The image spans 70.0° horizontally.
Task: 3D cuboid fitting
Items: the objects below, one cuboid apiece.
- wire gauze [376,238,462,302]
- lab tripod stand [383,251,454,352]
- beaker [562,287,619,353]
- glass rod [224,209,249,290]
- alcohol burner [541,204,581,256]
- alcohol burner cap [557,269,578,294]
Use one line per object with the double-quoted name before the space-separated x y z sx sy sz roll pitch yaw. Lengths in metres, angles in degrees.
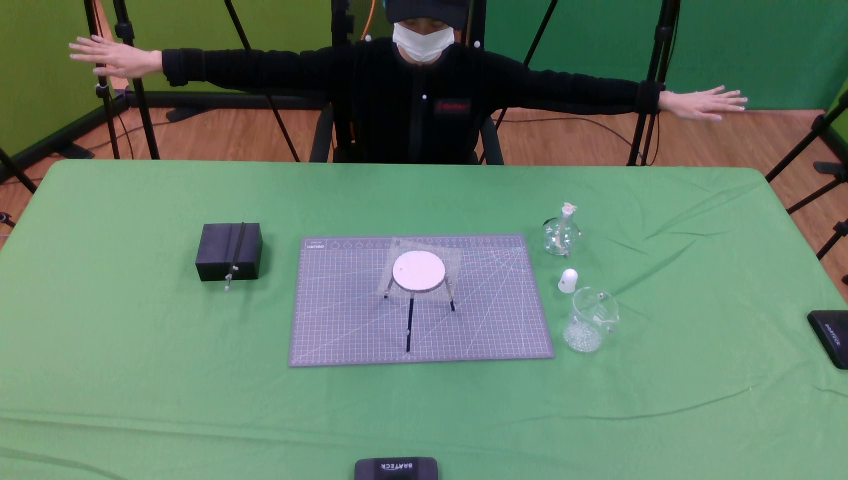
"wire gauze" -0.006 0.048 0.977 0.121 0.011 0.124 9 46 5
"lab tripod stand" -0.015 0.094 1.025 0.148 0.132 0.147 1 46 -1
"beaker" 0.281 0.140 1.032 0.083 0.101 0.074 33 53 24
"glass rod" -0.340 0.013 1.102 0.008 0.008 0.198 2 45 -3
"alcohol burner" 0.271 -0.026 1.182 0.078 0.119 0.077 4 46 -3
"alcohol burner cap" 0.270 0.075 1.135 0.034 0.048 0.033 2 46 -2
